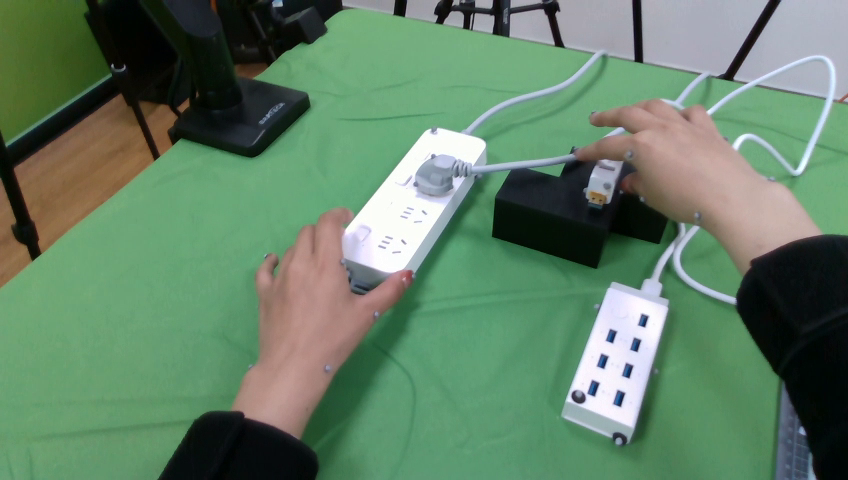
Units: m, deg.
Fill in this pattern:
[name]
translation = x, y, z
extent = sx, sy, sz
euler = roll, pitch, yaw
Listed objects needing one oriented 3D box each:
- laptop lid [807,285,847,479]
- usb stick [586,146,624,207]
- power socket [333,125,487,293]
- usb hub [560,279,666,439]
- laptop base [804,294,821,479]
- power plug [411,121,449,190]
[laptop lid]
translation = 0.429, 0.164, 0.368
extent = 0.355, 0.013, 0.240
euler = 20, 51, 19
[usb stick]
translation = 0.156, -0.054, 0.526
extent = 0.021, 0.027, 0.059
euler = 17, 52, 16
[power socket]
translation = -0.007, -0.039, 0.580
extent = 0.072, 0.033, 0.225
euler = 20, 49, 17
[usb hub]
translation = 0.146, 0.086, 0.462
extent = 0.049, 0.025, 0.124
euler = 19, 49, 20
[laptop base]
translation = 0.431, 0.171, 0.378
extent = 0.352, 0.023, 0.234
euler = 19, 52, 18
[power plug]
translation = 0.009, -0.074, 0.584
extent = 0.035, 0.053, 0.072
euler = 14, 40, 1
